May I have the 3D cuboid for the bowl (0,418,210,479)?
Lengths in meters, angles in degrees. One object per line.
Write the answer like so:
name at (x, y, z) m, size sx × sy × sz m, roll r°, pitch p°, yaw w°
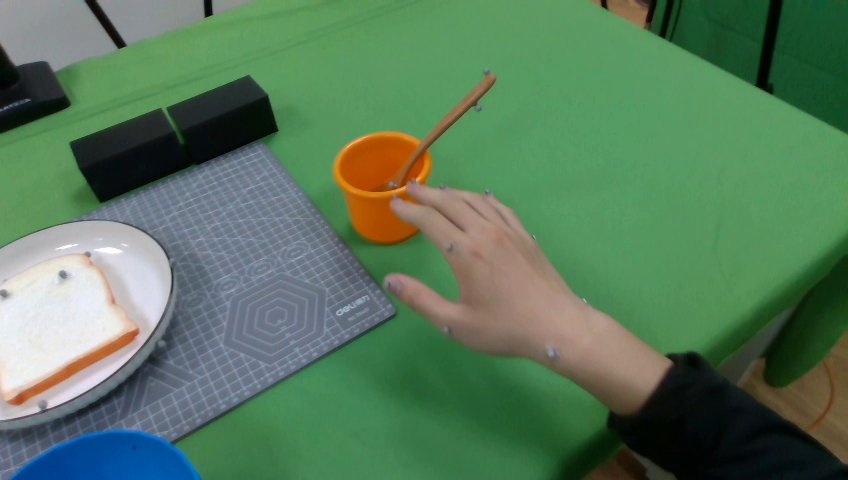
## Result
bowl at (-0.195, 0.196, 0.375) m, size 0.151 × 0.077 × 0.150 m, roll -1°, pitch 49°, yaw 2°

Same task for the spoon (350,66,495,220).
spoon at (-0.004, -0.087, 0.563) m, size 0.022 × 0.194 × 0.041 m, roll 18°, pitch 35°, yaw -43°

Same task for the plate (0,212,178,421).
plate at (-0.315, 0.062, 0.521) m, size 0.209 × 0.038 × 0.207 m, roll -2°, pitch 49°, yaw 2°

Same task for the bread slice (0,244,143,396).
bread slice at (-0.321, 0.061, 0.526) m, size 0.107 × 0.018 × 0.133 m, roll -35°, pitch 57°, yaw -23°
